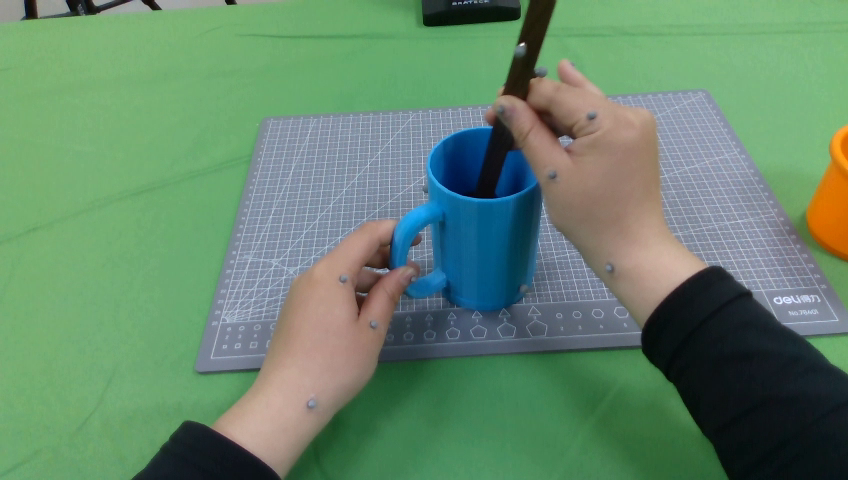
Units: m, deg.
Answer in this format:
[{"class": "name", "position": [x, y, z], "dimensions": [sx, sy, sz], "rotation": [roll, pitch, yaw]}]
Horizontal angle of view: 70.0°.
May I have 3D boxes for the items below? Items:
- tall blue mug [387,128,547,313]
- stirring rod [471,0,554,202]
[{"class": "tall blue mug", "position": [0.033, -0.001, 0.412], "dimensions": [0.077, 0.109, 0.107], "rotation": [20, 51, 21]}, {"class": "stirring rod", "position": [0.048, -0.068, 0.367], "dimensions": [0.014, 0.177, 0.006], "rotation": [23, 54, 9]}]
